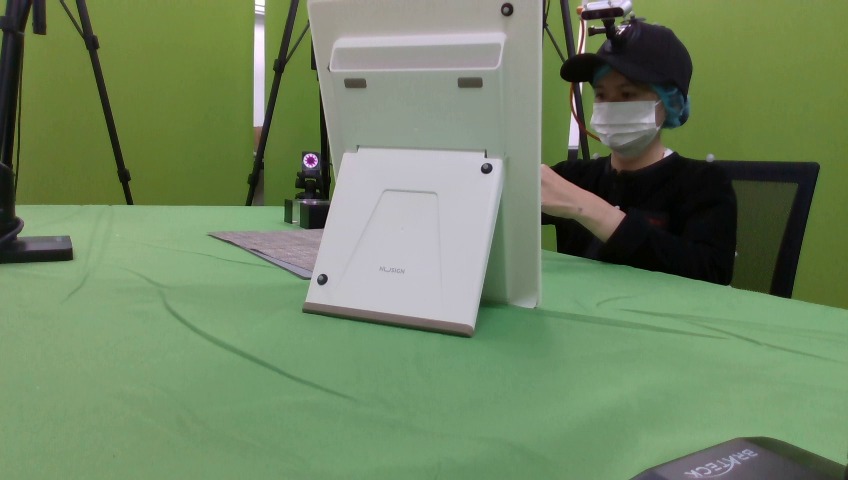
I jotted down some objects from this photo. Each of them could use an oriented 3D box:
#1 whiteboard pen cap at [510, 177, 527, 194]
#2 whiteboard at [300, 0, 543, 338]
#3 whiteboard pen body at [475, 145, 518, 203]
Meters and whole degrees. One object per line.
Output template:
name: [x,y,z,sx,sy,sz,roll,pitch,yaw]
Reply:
whiteboard pen cap: [0.149,-0.088,0.961,0.018,0.018,0.033,-1,36,-23]
whiteboard: [-0.020,-0.050,0.523,0.216,0.305,0.144,6,27,22]
whiteboard pen body: [0.115,-0.105,0.959,0.017,0.017,0.140,-2,45,-30]
